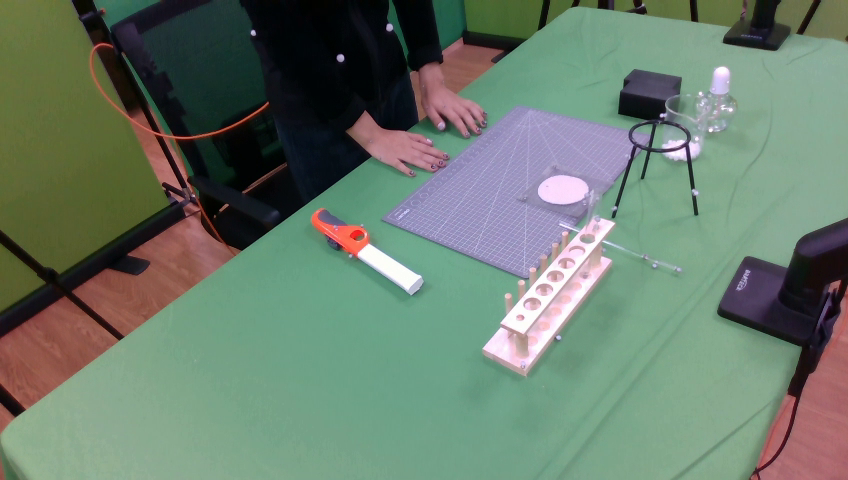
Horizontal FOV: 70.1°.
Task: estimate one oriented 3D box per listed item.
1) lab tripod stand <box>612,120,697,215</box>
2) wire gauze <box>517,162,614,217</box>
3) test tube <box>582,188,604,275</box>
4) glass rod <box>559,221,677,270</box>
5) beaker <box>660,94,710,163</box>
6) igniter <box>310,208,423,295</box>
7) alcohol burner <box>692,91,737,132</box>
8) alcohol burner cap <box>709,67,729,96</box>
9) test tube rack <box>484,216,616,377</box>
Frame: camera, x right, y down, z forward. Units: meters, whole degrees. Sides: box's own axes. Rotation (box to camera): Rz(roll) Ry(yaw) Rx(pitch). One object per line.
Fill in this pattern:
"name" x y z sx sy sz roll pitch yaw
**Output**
"lab tripod stand" 0.369 -0.112 0.958 0.148 0.132 0.147 -4 40 4
"wire gauze" 0.245 -0.088 1.046 0.120 0.011 0.125 25 50 32
"test tube" 0.228 -0.007 0.821 0.017 0.151 0.017 -3 42 3
"glass rod" 0.292 0.007 0.927 0.198 0.008 0.008 26 52 36
"beaker" 0.457 -0.192 1.063 0.074 0.101 0.083 -7 41 4
"igniter" -0.103 0.012 0.981 0.057 0.025 0.274 -42 49 -20
"alcohol burner" 0.541 -0.262 1.118 0.078 0.119 0.077 -5 42 5
"alcohol burner cap" 0.535 -0.288 1.094 0.034 0.048 0.033 -8 42 8
"test tube rack" 0.174 0.065 0.823 0.066 0.085 0.243 23 49 33
